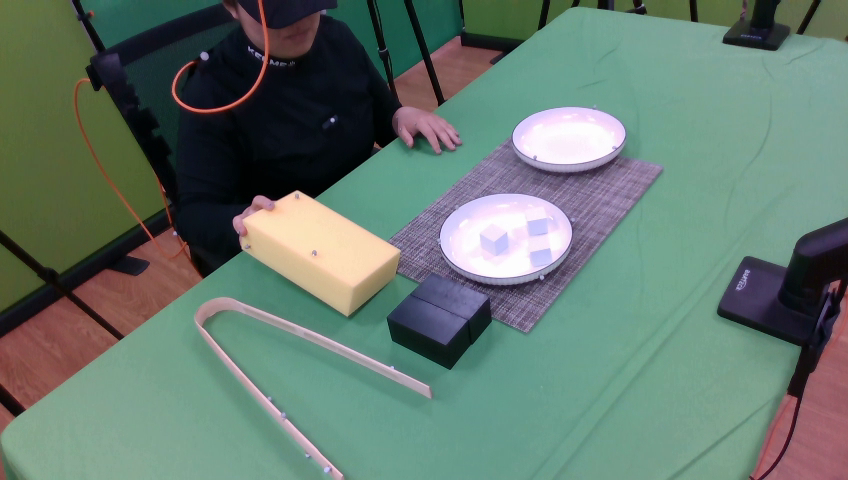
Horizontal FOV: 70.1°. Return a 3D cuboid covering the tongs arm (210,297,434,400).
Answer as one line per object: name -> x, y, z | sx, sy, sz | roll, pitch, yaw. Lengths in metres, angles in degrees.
tongs arm -> -0.153, 0.143, 0.837 | 0.385, 0.028, 0.028 | 17, 49, 28

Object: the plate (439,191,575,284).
plate -> 0.129, -0.001, 0.942 | 0.207, 0.039, 0.206 | -5, 40, 5

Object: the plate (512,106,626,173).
plate -> 0.269, -0.185, 1.132 | 0.209, 0.038, 0.208 | -5, 40, 5

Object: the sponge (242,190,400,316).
sponge -> -0.156, 0.014, 0.911 | 0.206, 0.061, 0.118 | 29, 39, 17

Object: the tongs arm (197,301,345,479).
tongs arm -> -0.206, 0.185, 0.791 | 0.381, 0.026, 0.051 | 28, 51, 37
